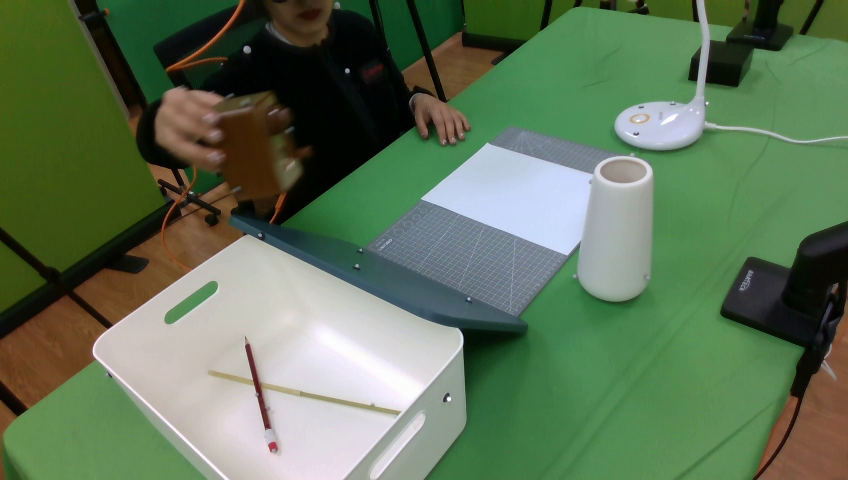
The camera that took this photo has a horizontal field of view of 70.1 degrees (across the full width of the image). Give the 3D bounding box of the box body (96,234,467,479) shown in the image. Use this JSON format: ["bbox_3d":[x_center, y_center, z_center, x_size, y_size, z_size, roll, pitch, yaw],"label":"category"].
[{"bbox_3d":[-0.155,0.169,0.707,0.361,0.161,0.255,23,49,33],"label":"box body"}]

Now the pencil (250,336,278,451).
[{"bbox_3d":[-0.213,0.193,0.790,0.012,0.012,0.192,-19,43,-11],"label":"pencil"}]

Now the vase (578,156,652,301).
[{"bbox_3d":[0.261,-0.011,0.812,0.098,0.201,0.097,-4,40,4],"label":"vase"}]

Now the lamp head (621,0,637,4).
[{"bbox_3d":[0.319,-0.453,0.962,0.113,0.123,0.112,20,33,-13],"label":"lamp head"}]

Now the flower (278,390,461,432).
[{"bbox_3d":[-0.122,0.203,0.771,0.360,0.038,0.044,2,77,22],"label":"flower"}]

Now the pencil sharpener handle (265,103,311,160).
[{"bbox_3d":[-0.152,-0.124,0.686,0.030,0.068,0.036,-7,27,17],"label":"pencil sharpener handle"}]

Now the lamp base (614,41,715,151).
[{"bbox_3d":[0.449,-0.277,1.106,0.179,0.181,0.160,1,41,9],"label":"lamp base"}]

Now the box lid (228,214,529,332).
[{"bbox_3d":[-0.061,0.045,0.812,0.368,0.265,0.015,22,93,32],"label":"box lid"}]

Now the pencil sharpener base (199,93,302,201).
[{"bbox_3d":[-0.197,-0.108,0.707,0.076,0.107,0.061,-7,30,16],"label":"pencil sharpener base"}]
